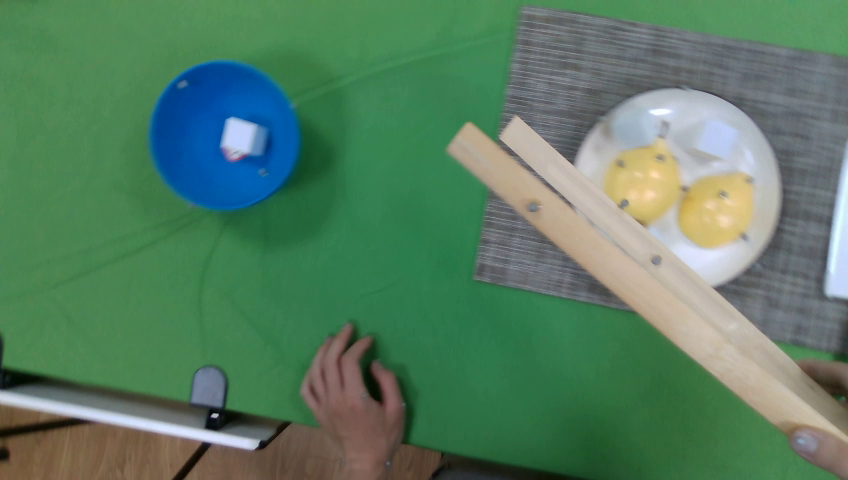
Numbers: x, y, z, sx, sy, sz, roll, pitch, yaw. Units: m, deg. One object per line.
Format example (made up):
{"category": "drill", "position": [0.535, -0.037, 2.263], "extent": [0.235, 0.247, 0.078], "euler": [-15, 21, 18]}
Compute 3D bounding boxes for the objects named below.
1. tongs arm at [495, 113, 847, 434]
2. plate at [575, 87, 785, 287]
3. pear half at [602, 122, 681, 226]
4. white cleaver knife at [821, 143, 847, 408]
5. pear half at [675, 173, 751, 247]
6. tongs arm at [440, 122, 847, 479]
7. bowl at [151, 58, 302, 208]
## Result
{"category": "tongs arm", "position": [0.194, 0.035, 0.462], "extent": [0.383, 0.051, 0.026], "euler": [43, 114, 9]}
{"category": "plate", "position": [0.257, -0.050, 0.626], "extent": [0.207, 0.039, 0.207], "euler": [0, 91, 4]}
{"category": "pear half", "position": [0.229, -0.072, 0.614], "extent": [0.076, 0.056, 0.110], "euler": [21, 89, -1]}
{"category": "white cleaver knife", "position": [0.448, 0.037, 0.629], "extent": [0.065, 0.021, 0.286], "euler": [8, 88, 13]}
{"category": "pear half", "position": [0.303, -0.033, 0.619], "extent": [0.070, 0.031, 0.088], "euler": [43, 99, -2]}
{"category": "tongs arm", "position": [0.167, 0.052, 0.397], "extent": [0.387, 0.028, 0.028], "euler": [39, 110, 0]}
{"category": "bowl", "position": [-0.195, -0.106, 0.639], "extent": [0.151, 0.077, 0.151], "euler": [0, 91, 3]}
